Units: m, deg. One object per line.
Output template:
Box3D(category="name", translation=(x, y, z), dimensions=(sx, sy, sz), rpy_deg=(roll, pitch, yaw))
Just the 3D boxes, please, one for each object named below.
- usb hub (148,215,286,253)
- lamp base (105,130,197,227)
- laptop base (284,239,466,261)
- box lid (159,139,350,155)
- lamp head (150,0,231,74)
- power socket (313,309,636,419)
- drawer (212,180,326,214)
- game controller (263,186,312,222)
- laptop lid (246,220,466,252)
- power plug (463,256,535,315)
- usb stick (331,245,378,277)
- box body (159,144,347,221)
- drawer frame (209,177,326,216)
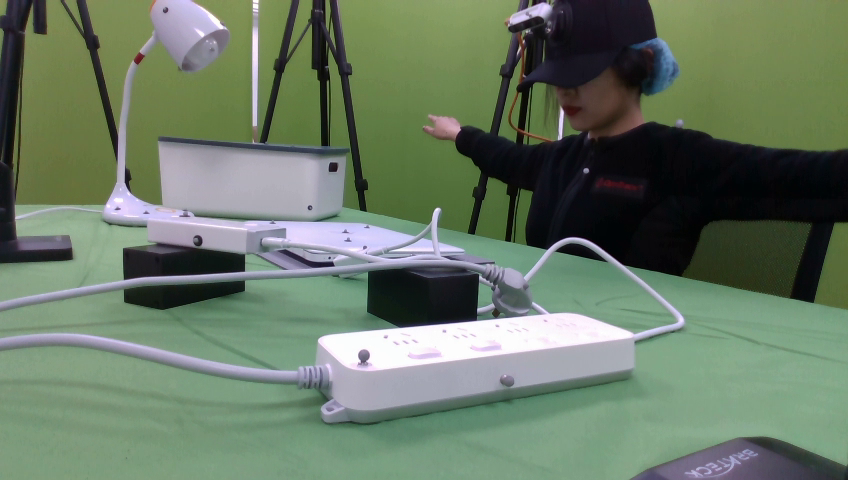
Box3D(category="usb hub", translation=(-0.197, -0.006, 0.575), dimensions=(0.125, 0.025, 0.050), rpy_deg=(6, 6, 22))
Box3D(category="lamp base", translation=(-0.532, -0.120, 1.153), dimensions=(0.179, 0.180, 0.161), rpy_deg=(1, 7, 8))
Box3D(category="laptop base", translation=(-0.125, 0.002, 0.945), dimensions=(0.237, 0.023, 0.352), rpy_deg=(2, 6, -31))
Box3D(category="box lid", translation=(-0.373, -0.214, 1.387), dimensions=(0.371, 0.015, 0.263), rpy_deg=(4, 9, 7))
Box3D(category="lamp head", translation=(-0.432, -0.374, 1.086), dimensions=(0.123, 0.112, 0.112), rpy_deg=(42, 8, -2))
Box3D(category="power socket", translation=(0.039, 0.072, 0.384), dimensions=(0.228, 0.032, 0.072), rpy_deg=(-2, 7, -28))
Box3D(category="drawer", translation=(-0.349, -0.103, 1.395), dimensions=(0.212, 0.073, 0.194), rpy_deg=(2, 6, 4))
Box3D(category="game controller", translation=(-0.308, -0.089, 1.397), dimensions=(0.097, 0.051, 0.155), rpy_deg=(31, 6, -3))
Box3D(category="laptop lid", translation=(-0.123, -0.009, 0.945), dimensions=(0.243, 0.013, 0.355), rpy_deg=(1, 7, -29))
Box3D(category="power plug", translation=(0.064, 0.039, 0.530), dimensions=(0.072, 0.052, 0.035), rpy_deg=(31, 43, 7))
Box3D(category="usb stick", translation=(-0.085, 0.026, 0.701), dimensions=(0.059, 0.027, 0.021), rpy_deg=(-18, 20, 27))
Box3D(category="box body", translation=(-0.384, -0.137, 1.406), dimensions=(0.364, 0.160, 0.254), rpy_deg=(3, 8, 8))
Box3D(category="drawer frame", translation=(-0.351, -0.103, 1.393), dimensions=(0.213, 0.082, 0.201), rpy_deg=(1, 7, 3))
